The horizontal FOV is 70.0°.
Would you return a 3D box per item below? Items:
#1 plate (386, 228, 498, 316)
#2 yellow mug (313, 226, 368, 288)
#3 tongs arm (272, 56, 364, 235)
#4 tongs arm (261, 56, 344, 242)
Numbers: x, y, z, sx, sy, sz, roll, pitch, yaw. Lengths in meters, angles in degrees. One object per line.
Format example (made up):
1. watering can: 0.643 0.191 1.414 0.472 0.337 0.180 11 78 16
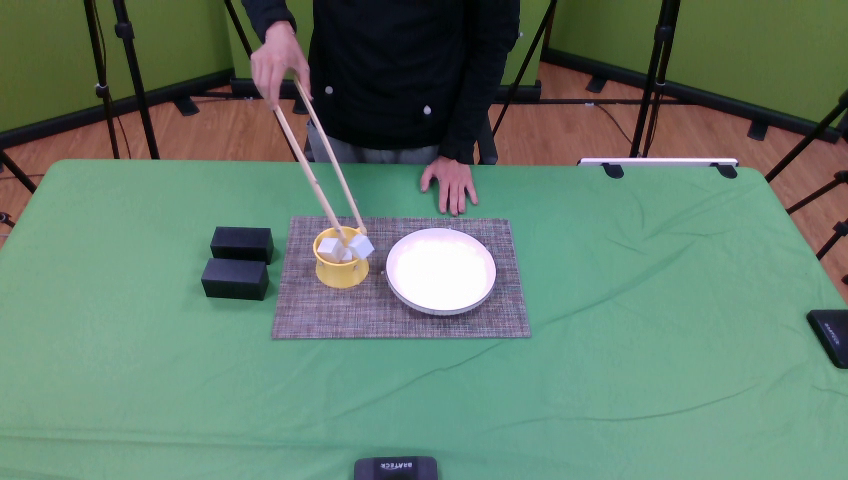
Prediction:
1. plate: 0.032 0.062 1.126 0.208 0.039 0.206 2 46 -2
2. yellow mug: -0.146 0.021 1.132 0.099 0.064 0.130 24 49 19
3. tongs arm: -0.193 -0.179 1.110 0.028 0.028 0.386 -22 76 -18
4. tongs arm: -0.216 -0.171 1.100 0.051 0.026 0.383 -25 77 -22
